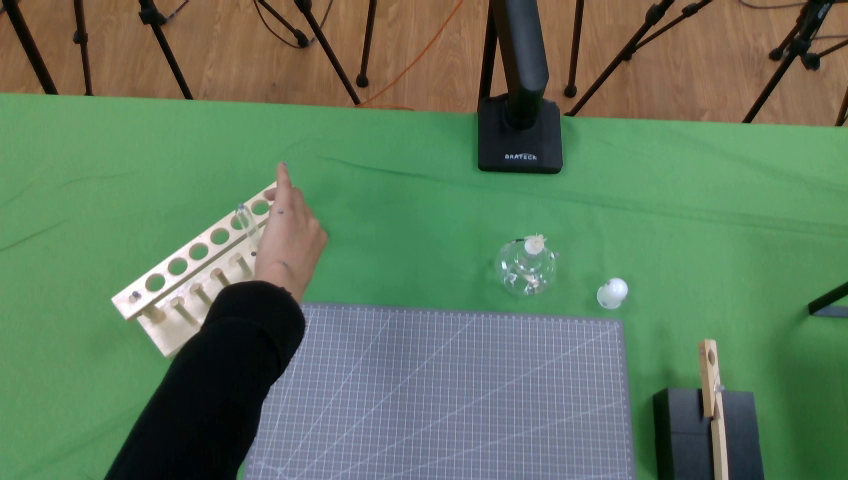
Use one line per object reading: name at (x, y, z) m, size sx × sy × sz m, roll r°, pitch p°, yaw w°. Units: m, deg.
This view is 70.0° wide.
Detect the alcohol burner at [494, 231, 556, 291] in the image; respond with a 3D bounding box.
alcohol burner at (0.128, 0.019, 0.750) m, size 0.078 × 0.120 × 0.077 m, roll 1°, pitch 66°, yaw -2°

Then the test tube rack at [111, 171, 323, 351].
test tube rack at (-0.246, 0.026, 0.752) m, size 0.242 × 0.086 × 0.066 m, roll -39°, pitch 72°, yaw -16°

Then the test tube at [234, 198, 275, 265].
test tube at (-0.199, -0.007, 0.718) m, size 0.017 × 0.151 × 0.017 m, roll 1°, pitch 64°, yaw -1°

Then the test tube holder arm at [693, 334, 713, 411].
test tube holder arm at (0.322, 0.153, 0.696) m, size 0.010 × 0.015 × 0.087 m, roll 6°, pitch 67°, yaw -7°

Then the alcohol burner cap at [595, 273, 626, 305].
alcohol burner cap at (0.241, 0.061, 0.774) m, size 0.034 × 0.048 × 0.033 m, roll 1°, pitch 66°, yaw -1°

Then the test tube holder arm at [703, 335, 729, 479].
test tube holder arm at (0.326, 0.195, 0.680) m, size 0.013 × 0.015 × 0.177 m, roll 5°, pitch 67°, yaw -7°
